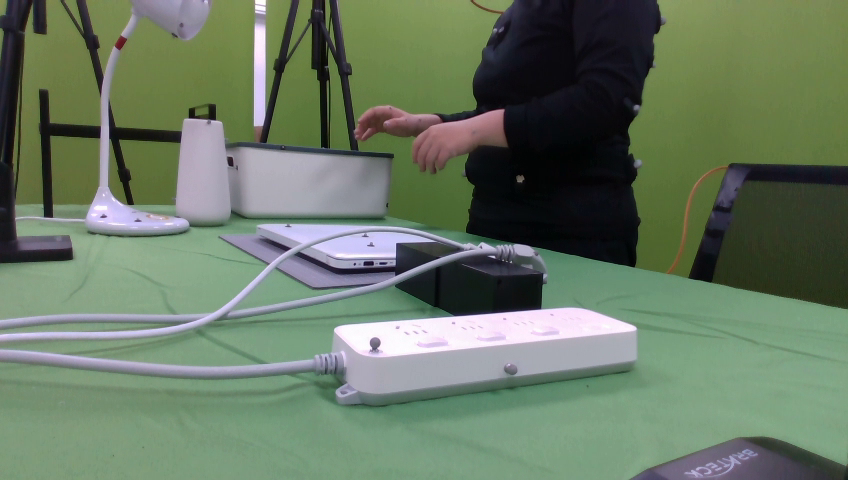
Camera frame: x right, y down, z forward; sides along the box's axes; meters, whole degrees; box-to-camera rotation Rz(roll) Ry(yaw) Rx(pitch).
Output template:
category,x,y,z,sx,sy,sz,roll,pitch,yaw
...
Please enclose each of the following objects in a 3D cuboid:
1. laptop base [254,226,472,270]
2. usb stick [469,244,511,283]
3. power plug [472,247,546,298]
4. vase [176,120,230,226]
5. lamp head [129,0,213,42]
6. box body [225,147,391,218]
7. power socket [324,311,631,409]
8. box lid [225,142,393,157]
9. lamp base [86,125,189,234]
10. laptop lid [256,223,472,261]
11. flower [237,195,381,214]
category,x,y,z,sx,sy,sz,roll,pitch,yaw
laptop base,-0.095,0.011,0.912,0.237,0.023,0.352,3,6,-32
usb stick,0.080,0.029,0.674,0.059,0.021,0.027,28,26,-29
power plug,0.081,0.030,0.584,0.072,0.052,0.035,11,27,9
vase,-0.425,-0.128,1.159,0.098,0.200,0.098,2,9,0
lamp head,-0.423,-0.394,0.980,0.123,0.112,0.112,20,7,-3
box body,-0.289,-0.143,1.475,0.366,0.160,0.253,-1,9,-29
power socket,0.042,0.075,0.410,0.228,0.032,0.072,-1,8,-25
box lid,-0.286,-0.217,1.464,0.373,0.015,0.262,-1,7,-28
lamp base,-0.497,-0.105,1.027,0.179,0.180,0.160,1,7,3
laptop lid,-0.093,0.000,0.912,0.243,0.013,0.355,2,7,-30
flower,-0.284,-0.080,1.482,0.361,0.038,0.044,5,35,7
